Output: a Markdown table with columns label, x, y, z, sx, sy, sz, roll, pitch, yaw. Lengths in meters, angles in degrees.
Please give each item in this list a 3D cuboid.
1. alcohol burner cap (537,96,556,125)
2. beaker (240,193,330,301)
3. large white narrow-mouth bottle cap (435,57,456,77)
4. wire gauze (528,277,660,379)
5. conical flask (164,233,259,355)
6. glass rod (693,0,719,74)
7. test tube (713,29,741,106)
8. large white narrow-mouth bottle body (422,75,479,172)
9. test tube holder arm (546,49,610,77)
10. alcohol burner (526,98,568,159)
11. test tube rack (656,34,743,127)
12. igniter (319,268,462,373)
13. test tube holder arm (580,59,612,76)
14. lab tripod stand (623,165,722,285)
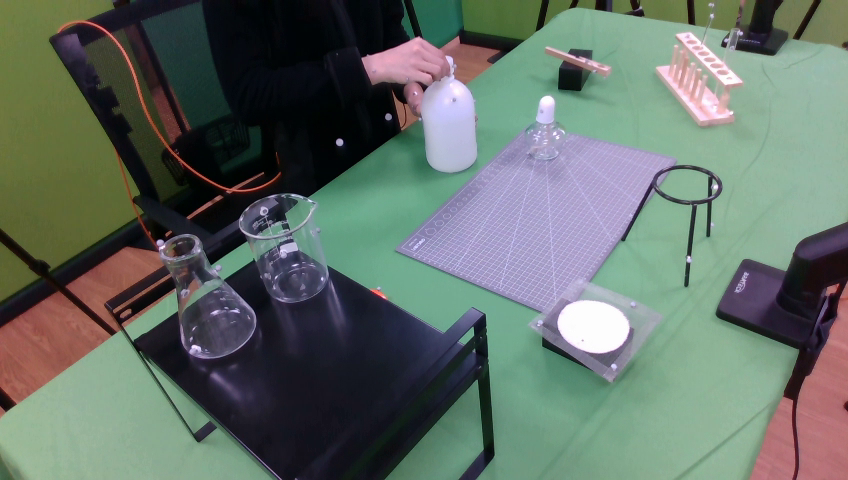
| label | x | y | z | sx | sy | sz | roll | pitch | yaw |
| --- | --- | --- | --- | --- | --- | --- | --- | --- | --- |
| alcohol burner cap | 0.223 | -0.237 | 1.095 | 0.034 | 0.048 | 0.033 | -1 | 42 | 1 |
| beaker | -0.144 | 0.009 | 0.656 | 0.084 | 0.101 | 0.073 | -25 | 43 | -19 |
| large white narrow-mouth bottle cap | 0.038 | -0.300 | 1.048 | 0.038 | 0.024 | 0.037 | -4 | 41 | 4 |
| wire gauze | 0.213 | 0.103 | 0.763 | 0.124 | 0.011 | 0.122 | 30 | 52 | 35 |
| conical flask | -0.216 | 0.051 | 0.601 | 0.075 | 0.122 | 0.075 | -4 | 40 | 4 |
| glass rod | 0.561 | -0.401 | 1.214 | 0.008 | 0.200 | 0.008 | -1 | 48 | 2 |
| test tube | 0.572 | -0.324 | 1.146 | 0.017 | 0.151 | 0.017 | -3 | 39 | 3 |
| large white narrow-mouth bottle body | 0.047 | -0.229 | 1.111 | 0.102 | 0.195 | 0.101 | -4 | 41 | 4 |
| test tube holder arm | 0.332 | -0.387 | 1.315 | 0.013 | 0.015 | 0.177 | -26 | 43 | -27 |
| alcohol burner | 0.228 | -0.210 | 1.118 | 0.078 | 0.119 | 0.077 | -5 | 43 | 5 |
| test tube rack | 0.553 | -0.330 | 1.233 | 0.067 | 0.085 | 0.241 | -7 | 40 | 2 |
| igniter | -0.059 | 0.107 | 0.862 | 0.274 | 0.025 | 0.057 | 27 | 62 | 34 |
| test tube holder arm | 0.363 | -0.369 | 1.288 | 0.010 | 0.015 | 0.087 | -28 | 44 | -28 |
| lab tripod stand | 0.365 | -0.030 | 0.874 | 0.148 | 0.132 | 0.147 | -6 | 41 | 6 |
